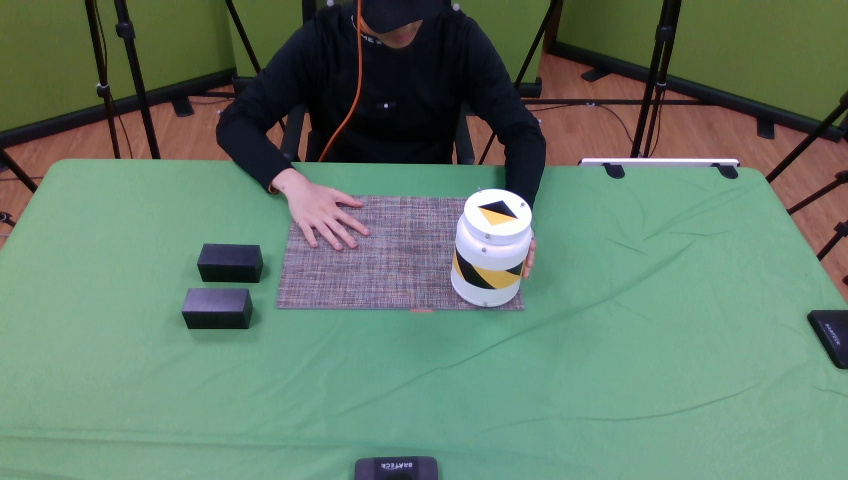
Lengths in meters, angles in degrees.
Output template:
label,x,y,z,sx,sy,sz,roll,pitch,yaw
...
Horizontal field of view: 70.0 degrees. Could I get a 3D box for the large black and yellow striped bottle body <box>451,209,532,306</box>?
label,x,y,z,sx,sy,sz,roll,pitch,yaw
large black and yellow striped bottle body,0.119,0.014,1.074,0.131,0.185,0.130,2,46,-2

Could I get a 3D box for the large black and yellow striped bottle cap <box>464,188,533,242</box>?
label,x,y,z,sx,sy,sz,roll,pitch,yaw
large black and yellow striped bottle cap,0.124,-0.044,1.014,0.115,0.019,0.114,2,47,-1
